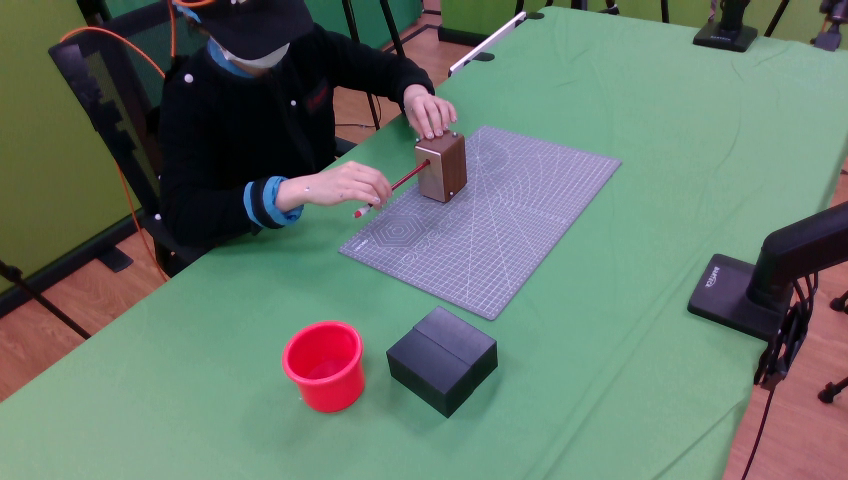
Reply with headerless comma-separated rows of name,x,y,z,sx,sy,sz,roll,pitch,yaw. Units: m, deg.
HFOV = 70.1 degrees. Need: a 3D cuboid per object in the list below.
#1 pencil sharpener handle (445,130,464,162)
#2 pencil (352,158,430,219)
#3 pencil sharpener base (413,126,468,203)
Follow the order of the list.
pencil sharpener handle,0.059,-0.171,1.070,0.036,0.068,0.031,26,50,25
pencil,-0.045,-0.089,0.964,0.012,0.012,0.194,25,50,32
pencil sharpener base,0.032,-0.132,1.047,0.061,0.107,0.077,21,48,30
